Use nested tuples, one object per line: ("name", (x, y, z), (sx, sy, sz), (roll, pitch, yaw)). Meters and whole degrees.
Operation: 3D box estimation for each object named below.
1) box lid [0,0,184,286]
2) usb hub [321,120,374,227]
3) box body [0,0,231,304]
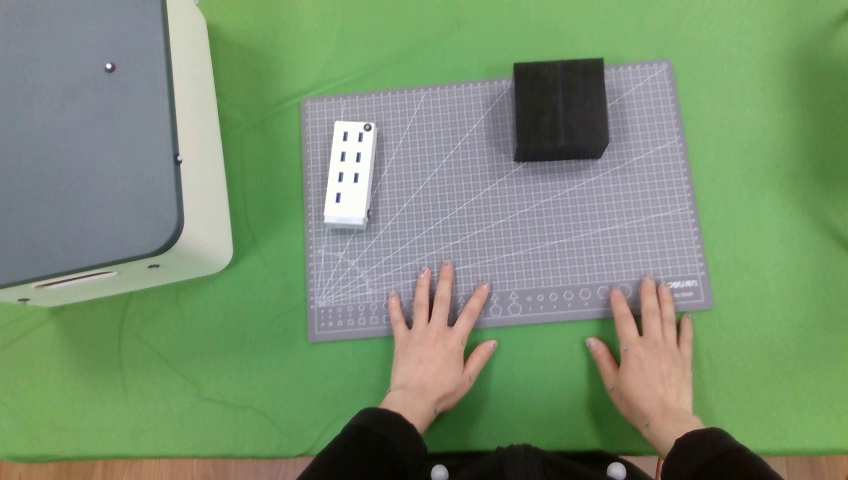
("box lid", (-0.380, -0.140, 0.602), (0.263, 0.015, 0.369), (-11, 77, 2))
("usb hub", (-0.089, -0.079, 0.712), (0.049, 0.025, 0.124), (4, 79, 4))
("box body", (-0.374, -0.124, 0.674), (0.254, 0.161, 0.362), (-11, 77, 1))
